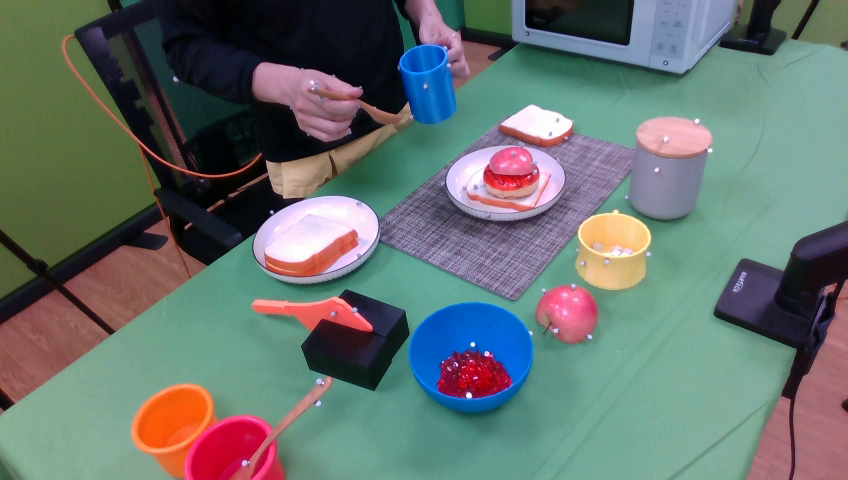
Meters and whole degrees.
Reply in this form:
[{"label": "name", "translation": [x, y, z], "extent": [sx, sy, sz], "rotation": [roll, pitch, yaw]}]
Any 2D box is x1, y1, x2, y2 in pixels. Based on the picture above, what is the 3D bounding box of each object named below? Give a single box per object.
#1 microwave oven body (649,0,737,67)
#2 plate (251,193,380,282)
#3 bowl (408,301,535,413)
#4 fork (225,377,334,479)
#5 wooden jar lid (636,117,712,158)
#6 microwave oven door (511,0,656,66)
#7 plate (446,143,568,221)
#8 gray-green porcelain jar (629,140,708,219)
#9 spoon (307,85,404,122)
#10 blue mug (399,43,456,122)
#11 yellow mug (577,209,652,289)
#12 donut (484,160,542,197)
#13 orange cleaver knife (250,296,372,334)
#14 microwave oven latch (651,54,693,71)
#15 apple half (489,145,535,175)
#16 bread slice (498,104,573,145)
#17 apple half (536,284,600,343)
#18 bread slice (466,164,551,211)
[{"label": "microwave oven body", "translation": [0.475, -0.602, 1.411], "extent": [0.438, 0.261, 0.327], "rotation": [23, 50, 32]}, {"label": "plate", "translation": [-0.174, -0.001, 0.984], "extent": [0.209, 0.038, 0.208], "rotation": [-4, 40, 4]}, {"label": "bowl", "translation": [0.059, 0.156, 0.739], "extent": [0.151, 0.077, 0.150], "rotation": [-4, 40, 4]}, {"label": "fork", "translation": [-0.163, 0.216, 0.646], "extent": [0.207, 0.019, 0.028], "rotation": [-49, 42, 16]}, {"label": "wooden jar lid", "translation": [0.377, -0.151, 0.917], "extent": [0.108, 0.021, 0.108], "rotation": [-2, 42, 3]}, {"label": "microwave oven door", "translation": [0.351, -0.540, 1.349], "extent": [0.353, 0.245, 0.039], "rotation": [24, 50, 31]}, {"label": "plate", "translation": [0.142, -0.096, 1.045], "extent": [0.207, 0.039, 0.206], "rotation": [-4, 41, 4]}, {"label": "gray-green porcelain jar", "translation": [0.383, -0.105, 0.958], "extent": [0.106, 0.127, 0.105], "rotation": [-4, 41, 4]}, {"label": "spoon", "translation": [-0.093, -0.190, 0.838], "extent": [0.041, 0.021, 0.195], "rotation": [2, -3, 34]}, {"label": "blue mug", "translation": [0.017, -0.280, 1.039], "extent": [0.082, 0.106, 0.116], "rotation": [22, 59, 27]}, {"label": "yellow mug", "translation": [0.279, 0.004, 0.893], "extent": [0.099, 0.064, 0.130], "rotation": [5, 42, 15]}, {"label": "donut", "translation": [0.149, -0.110, 1.015], "extent": [0.099, 0.048, 0.098], "rotation": [-4, 40, 4]}, {"label": "orange cleaver knife", "translation": [-0.158, 0.103, 0.828], "extent": [0.210, 0.078, 0.012], "rotation": [-4, 43, 39]}, {"label": "microwave oven latch", "translation": [0.532, -0.386, 1.301], "extent": [0.078, 0.029, 0.030], "rotation": [26, 52, 34]}, {"label": "apple half", "translation": [0.145, -0.138, 0.995], "extent": [0.081, 0.033, 0.081], "rotation": [-2, 35, 2]}, {"label": "bread slice", "translation": [0.231, -0.231, 1.205], "extent": [0.105, 0.019, 0.130], "rotation": [-36, 47, -29]}, {"label": "apple half", "translation": [0.196, 0.091, 0.815], "extent": [0.075, 0.053, 0.080], "rotation": [-22, 42, -20]}, {"label": "bread slice", "translation": [0.141, -0.092, 1.042], "extent": [0.133, 0.018, 0.107], "rotation": [11, 43, 18]}]
